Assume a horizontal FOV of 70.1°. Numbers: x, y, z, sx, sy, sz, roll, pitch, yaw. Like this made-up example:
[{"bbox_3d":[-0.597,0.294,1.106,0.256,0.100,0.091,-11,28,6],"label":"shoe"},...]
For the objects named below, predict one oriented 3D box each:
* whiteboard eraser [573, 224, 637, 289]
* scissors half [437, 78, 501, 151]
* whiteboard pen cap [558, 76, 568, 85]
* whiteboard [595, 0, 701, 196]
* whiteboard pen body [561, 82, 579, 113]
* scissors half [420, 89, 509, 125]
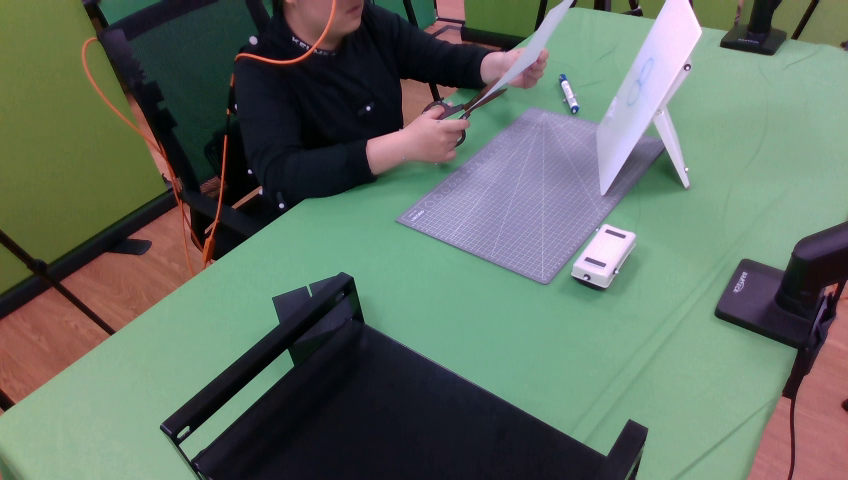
[{"bbox_3d":[0.267,0.025,0.891,0.055,0.042,0.113,19,47,31],"label":"whiteboard eraser"},{"bbox_3d":[0.084,-0.227,1.101,0.040,0.175,0.013,37,32,-6],"label":"scissors half"},{"bbox_3d":[0.310,-0.350,1.341,0.018,0.018,0.033,-6,40,2],"label":"whiteboard pen cap"},{"bbox_3d":[0.421,-0.227,1.010,0.144,0.305,0.216,18,42,-2],"label":"whiteboard"},{"bbox_3d":[0.311,-0.312,1.297,0.017,0.017,0.140,-6,42,3],"label":"whiteboard pen body"},{"bbox_3d":[0.071,-0.246,1.096,0.174,0.040,0.013,-11,21,23],"label":"scissors half"}]
